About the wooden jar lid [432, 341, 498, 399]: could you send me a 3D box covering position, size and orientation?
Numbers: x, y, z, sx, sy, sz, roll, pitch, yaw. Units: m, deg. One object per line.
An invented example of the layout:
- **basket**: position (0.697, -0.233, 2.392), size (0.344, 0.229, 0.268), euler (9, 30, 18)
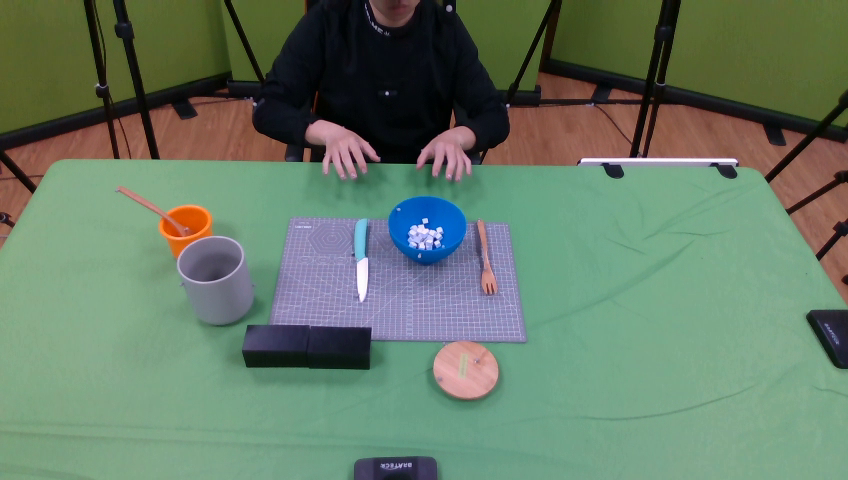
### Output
- **wooden jar lid**: position (0.067, 0.216, 0.997), size (0.108, 0.021, 0.107), euler (1, 46, -1)

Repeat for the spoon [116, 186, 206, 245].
- **spoon**: position (-0.474, -0.041, 1.112), size (0.021, 0.195, 0.041), euler (-31, 31, 29)

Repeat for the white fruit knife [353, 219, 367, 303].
- **white fruit knife**: position (-0.122, 0.036, 1.153), size (0.027, 0.016, 0.206), euler (-10, 47, 5)

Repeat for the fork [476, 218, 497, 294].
- **fork**: position (0.118, 0.027, 1.178), size (0.028, 0.019, 0.206), euler (-4, 48, 1)

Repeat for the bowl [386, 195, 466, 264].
- **bowl**: position (0.002, -0.007, 1.162), size (0.151, 0.077, 0.150), euler (2, 46, -2)

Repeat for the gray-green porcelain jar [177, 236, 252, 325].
- **gray-green porcelain jar**: position (-0.350, 0.073, 1.027), size (0.106, 0.127, 0.105), euler (3, 46, -3)
